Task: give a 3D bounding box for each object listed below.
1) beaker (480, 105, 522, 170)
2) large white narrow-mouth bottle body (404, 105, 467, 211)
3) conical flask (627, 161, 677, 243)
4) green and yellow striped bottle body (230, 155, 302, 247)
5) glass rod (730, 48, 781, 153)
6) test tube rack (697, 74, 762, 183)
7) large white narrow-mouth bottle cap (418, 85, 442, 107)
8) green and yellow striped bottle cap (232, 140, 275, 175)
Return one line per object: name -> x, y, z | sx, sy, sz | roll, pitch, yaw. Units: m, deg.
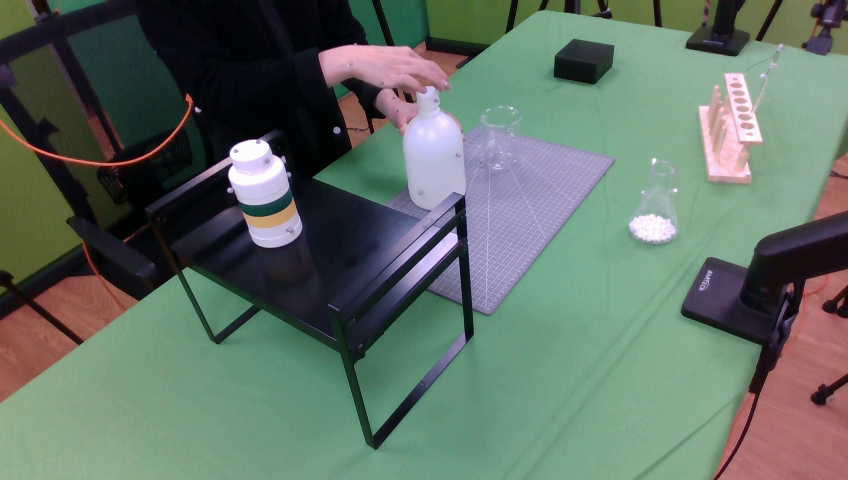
beaker -> 0.145, -0.187, 1.111 | 0.084, 0.101, 0.073 | -35, 48, -29
large white narrow-mouth bottle body -> 0.017, -0.151, 1.016 | 0.102, 0.195, 0.101 | -4, 39, 4
conical flask -> 0.355, -0.061, 0.921 | 0.075, 0.122, 0.075 | -4, 41, 4
green and yellow striped bottle body -> -0.188, -0.055, 0.714 | 0.063, 0.120, 0.063 | -4, 41, 4
glass rod -> 0.554, -0.228, 1.015 | 0.008, 0.200, 0.008 | 1, 44, -1
test tube rack -> 0.547, -0.208, 1.095 | 0.066, 0.085, 0.242 | 5, 42, 15
large white narrow-mouth bottle cap -> 0.009, -0.228, 0.956 | 0.038, 0.024, 0.037 | -4, 38, 3
green and yellow striped bottle cap -> -0.192, -0.093, 0.680 | 0.045, 0.020, 0.045 | -5, 39, 5
